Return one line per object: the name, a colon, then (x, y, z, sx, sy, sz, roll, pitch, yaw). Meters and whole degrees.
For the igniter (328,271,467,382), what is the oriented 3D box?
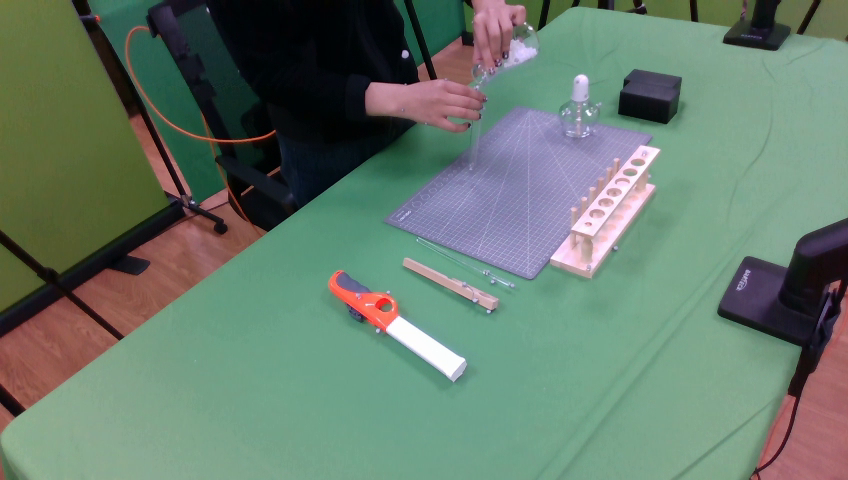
igniter: (-0.049, 0.114, 0.854, 0.274, 0.025, 0.057, 29, 63, 37)

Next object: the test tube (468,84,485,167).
test tube: (0.092, -0.198, 1.059, 0.017, 0.150, 0.017, 3, 29, -1)

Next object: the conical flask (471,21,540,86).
conical flask: (0.135, -0.312, 1.033, 0.122, 0.076, 0.074, -42, 49, -19)

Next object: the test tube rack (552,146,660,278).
test tube rack: (0.286, -0.053, 0.943, 0.066, 0.085, 0.243, 21, 49, 32)

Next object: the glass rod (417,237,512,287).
glass rod: (0.059, 0.032, 0.945, 0.198, 0.008, 0.008, 26, 52, 38)

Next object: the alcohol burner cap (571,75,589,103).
alcohol burner cap: (0.294, -0.285, 1.132, 0.034, 0.048, 0.033, -5, 46, 5)

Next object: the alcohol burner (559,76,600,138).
alcohol burner: (0.298, -0.258, 1.156, 0.078, 0.119, 0.077, -4, 39, 4)

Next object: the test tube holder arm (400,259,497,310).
test tube holder arm: (0.033, 0.064, 0.902, 0.177, 0.015, 0.013, 23, 14, 33)

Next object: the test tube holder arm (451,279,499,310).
test tube holder arm: (0.071, 0.079, 0.882, 0.087, 0.015, 0.010, 23, 14, 34)
